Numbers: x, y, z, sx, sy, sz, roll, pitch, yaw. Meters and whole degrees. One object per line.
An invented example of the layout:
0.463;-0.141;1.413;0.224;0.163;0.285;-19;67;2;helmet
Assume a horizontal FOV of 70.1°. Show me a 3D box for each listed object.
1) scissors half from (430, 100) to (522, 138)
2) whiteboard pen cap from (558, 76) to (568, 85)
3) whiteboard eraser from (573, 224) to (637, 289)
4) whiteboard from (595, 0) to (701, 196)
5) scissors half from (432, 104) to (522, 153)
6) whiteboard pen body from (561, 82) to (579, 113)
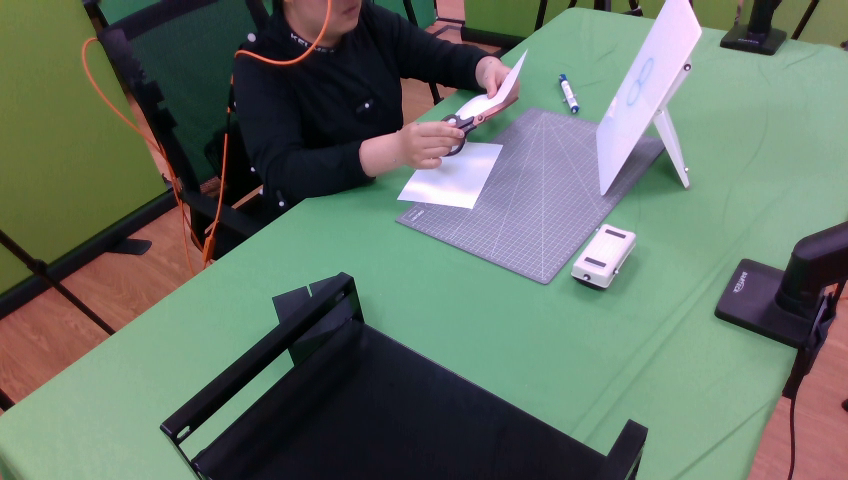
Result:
0.084;-0.206;1.011;0.174;0.040;0.013;-11;-9;32;scissors half
0.309;-0.350;1.341;0.018;0.018;0.033;-6;41;2;whiteboard pen cap
0.267;0.025;0.891;0.055;0.042;0.113;19;47;31;whiteboard eraser
0.421;-0.227;1.010;0.144;0.305;0.216;18;42;-2;whiteboard
0.087;-0.188;1.008;0.174;0.040;0.013;-23;-10;31;scissors half
0.310;-0.311;1.298;0.017;0.017;0.140;-6;41;2;whiteboard pen body
